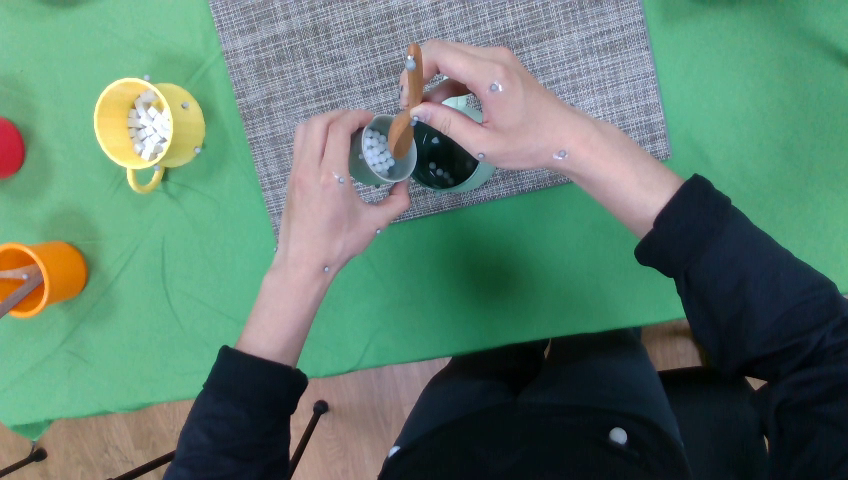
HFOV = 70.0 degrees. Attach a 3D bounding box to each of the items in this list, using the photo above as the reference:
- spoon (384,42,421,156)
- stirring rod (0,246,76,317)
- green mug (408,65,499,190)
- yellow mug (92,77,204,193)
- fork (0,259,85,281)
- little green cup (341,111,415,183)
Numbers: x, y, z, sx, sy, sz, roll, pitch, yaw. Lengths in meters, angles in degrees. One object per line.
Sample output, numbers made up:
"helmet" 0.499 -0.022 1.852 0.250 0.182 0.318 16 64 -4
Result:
"spoon" -0.013 -0.102 0.453 0.022 0.194 0.041 25 81 -5
"stirring rod" -0.498 0.071 0.734 0.014 0.006 0.175 38 62 2
"green mug" 0.027 -0.111 0.608 0.092 0.105 0.125 5 100 11
"yellow mug" -0.319 -0.119 0.702 0.100 0.064 0.131 13 103 8
"fork" -0.528 0.041 0.729 0.208 0.018 0.028 -2 99 -32
"little green cup" -0.043 -0.081 0.545 0.038 0.062 0.061 -11 98 50
